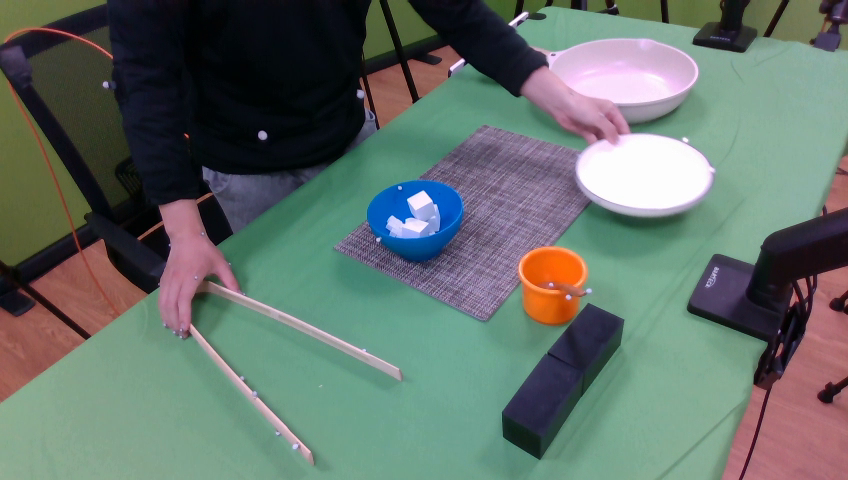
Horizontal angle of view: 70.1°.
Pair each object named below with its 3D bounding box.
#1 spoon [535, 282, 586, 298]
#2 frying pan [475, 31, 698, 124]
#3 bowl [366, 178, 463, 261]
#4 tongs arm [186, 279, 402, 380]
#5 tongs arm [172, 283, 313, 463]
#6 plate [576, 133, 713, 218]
[{"bbox_3d":[0.176,0.063,0.774,0.041,0.194,0.021,-3,85,0],"label":"spoon"},{"bbox_3d":[0.320,-0.371,1.289,0.485,0.103,0.307,28,50,23],"label":"frying pan"},{"bbox_3d":[-0.011,-0.021,0.945,0.151,0.077,0.150,-4,41,4],"label":"bowl"},{"bbox_3d":[-0.194,0.119,0.852,0.385,0.028,0.028,18,49,27],"label":"tongs arm"},{"bbox_3d":[-0.246,0.161,0.806,0.381,0.026,0.051,29,52,36],"label":"tongs arm"},{"bbox_3d":[0.348,-0.100,0.968,0.207,0.039,0.206,-4,41,4],"label":"plate"}]
